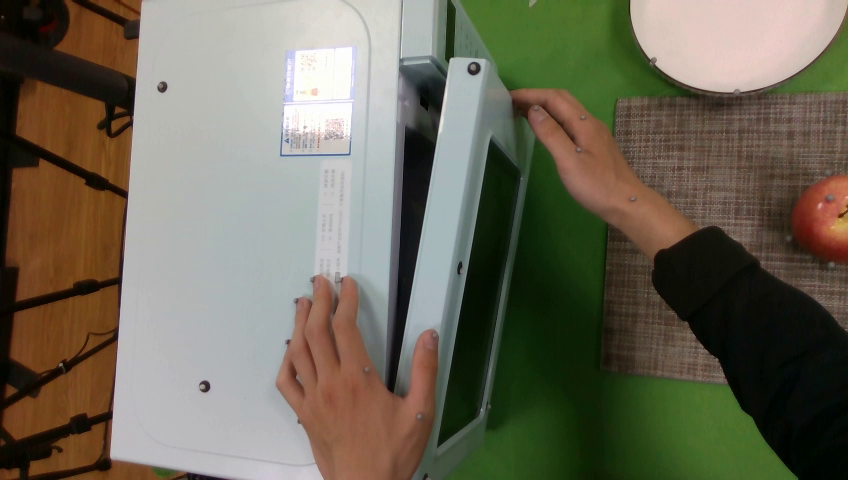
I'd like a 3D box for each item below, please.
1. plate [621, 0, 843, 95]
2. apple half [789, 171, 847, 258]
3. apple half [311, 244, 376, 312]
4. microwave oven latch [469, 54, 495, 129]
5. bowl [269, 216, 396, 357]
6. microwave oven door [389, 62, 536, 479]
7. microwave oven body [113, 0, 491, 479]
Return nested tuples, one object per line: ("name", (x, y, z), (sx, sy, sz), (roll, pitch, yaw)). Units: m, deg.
("plate", (0.316, -0.251, 0.635), (0.207, 0.039, 0.207), (-1, 86, 18))
("apple half", (0.378, -0.019, 0.575), (0.053, 0.075, 0.080), (-19, 84, 22))
("apple half", (-0.092, 0.046, 0.661), (0.081, 0.033, 0.081), (3, 102, 16))
("microwave oven latch", (0.065, -0.170, 0.696), (0.030, 0.029, 0.079), (5, 88, 19))
("bowl", (-0.087, 0.047, 0.671), (0.150, 0.077, 0.151), (2, 95, 24))
("microwave oven door", (0.045, 0.043, 0.581), (0.039, 0.245, 0.355), (9, 89, 20))
("microwave oven body", (-0.112, -0.002, 0.642), (0.325, 0.261, 0.441), (1, 87, 18))
